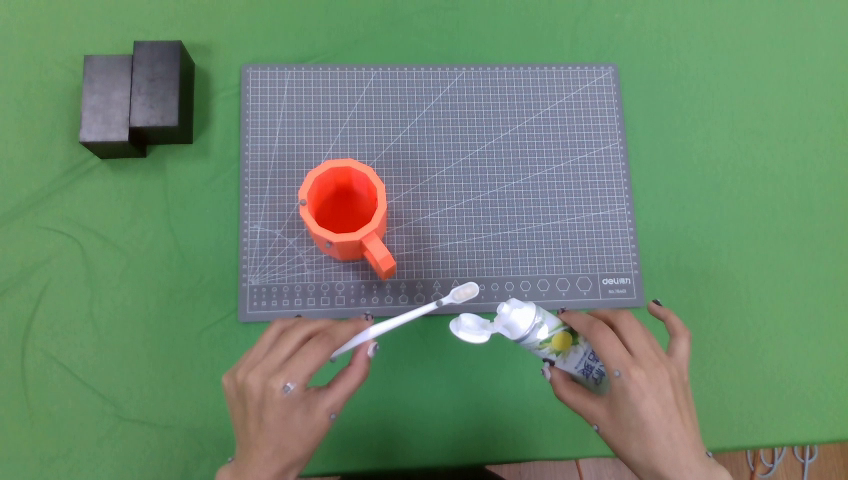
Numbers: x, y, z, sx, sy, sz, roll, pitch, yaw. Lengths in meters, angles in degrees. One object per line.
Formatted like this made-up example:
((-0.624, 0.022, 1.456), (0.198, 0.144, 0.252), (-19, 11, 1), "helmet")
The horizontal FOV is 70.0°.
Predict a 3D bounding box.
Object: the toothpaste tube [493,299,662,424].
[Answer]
((0.126, 0.097, 0.505), (0.166, 0.034, 0.055), (31, 93, -15), "toothpaste tube")

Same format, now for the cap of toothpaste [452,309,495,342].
((0.041, 0.068, 0.492), (0.037, 0.037, 0.011), (15, 119, -2), "cap of toothpaste")

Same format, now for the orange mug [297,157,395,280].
((-0.073, -0.016, 0.631), (0.083, 0.101, 0.125), (-36, 78, -11), "orange mug")

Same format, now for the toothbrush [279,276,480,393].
((-0.038, 0.077, 0.483), (0.182, 0.014, 0.016), (-29, 72, 6), "toothbrush")
